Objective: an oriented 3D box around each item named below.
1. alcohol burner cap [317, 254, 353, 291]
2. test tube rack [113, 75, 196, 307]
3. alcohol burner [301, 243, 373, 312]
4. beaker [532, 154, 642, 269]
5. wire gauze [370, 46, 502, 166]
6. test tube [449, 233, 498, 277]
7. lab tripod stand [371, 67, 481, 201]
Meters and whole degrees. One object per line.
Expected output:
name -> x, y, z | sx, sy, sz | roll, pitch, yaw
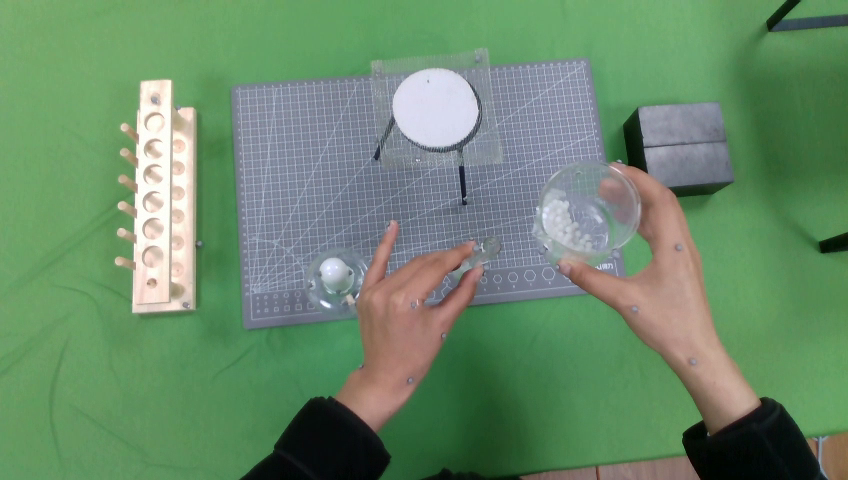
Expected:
alcohol burner cap -> -0.092, 0.032, 0.614 | 0.034, 0.048, 0.033 | -1, 73, 3
test tube rack -> -0.301, -0.051, 0.673 | 0.067, 0.085, 0.241 | -3, 79, -3
alcohol burner -> -0.094, 0.038, 0.649 | 0.078, 0.119, 0.077 | 1, 78, -4
beaker -> 0.125, -0.016, 0.496 | 0.084, 0.101, 0.073 | -25, 77, 1
wire gauze -> 0.011, -0.134, 0.610 | 0.125, 0.011, 0.121 | -5, 79, -4
test tube -> 0.042, 0.016, 0.543 | 0.017, 0.150, 0.017 | 1, 78, -7
lab tripod stand -> 0.011, -0.125, 0.676 | 0.148, 0.132, 0.147 | 0, 77, -2
